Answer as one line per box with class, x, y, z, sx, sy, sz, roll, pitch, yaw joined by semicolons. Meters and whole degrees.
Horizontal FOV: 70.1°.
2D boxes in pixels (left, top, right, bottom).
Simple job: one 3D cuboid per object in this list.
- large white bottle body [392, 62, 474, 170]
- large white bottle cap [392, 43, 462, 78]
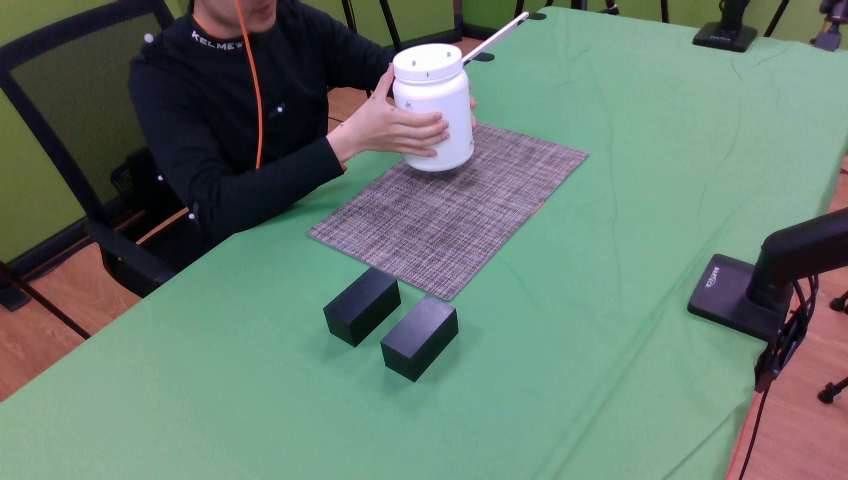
large white bottle body;0.016;-0.229;1.049;0.130;0.185;0.130;-5;37;5
large white bottle cap;0.005;-0.296;0.998;0.115;0.018;0.114;-5;37;4
